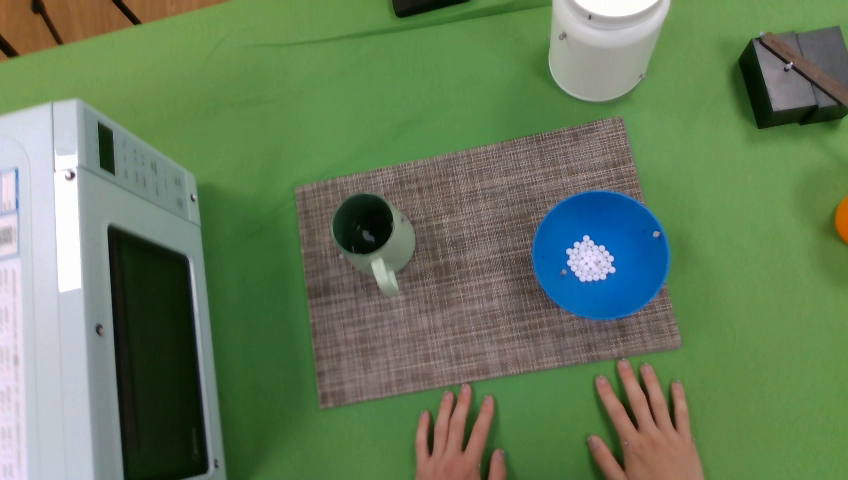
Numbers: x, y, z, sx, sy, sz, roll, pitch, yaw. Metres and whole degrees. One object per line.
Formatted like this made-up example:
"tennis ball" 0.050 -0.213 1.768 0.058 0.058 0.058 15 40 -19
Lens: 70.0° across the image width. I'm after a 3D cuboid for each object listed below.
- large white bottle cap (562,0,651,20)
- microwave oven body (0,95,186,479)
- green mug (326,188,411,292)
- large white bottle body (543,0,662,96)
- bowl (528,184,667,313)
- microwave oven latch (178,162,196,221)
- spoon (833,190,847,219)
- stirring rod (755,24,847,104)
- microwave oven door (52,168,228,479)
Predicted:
"large white bottle cap" 0.196 -0.289 0.644 0.114 0.018 0.114 -2 78 8
"microwave oven body" -0.458 0.115 0.705 0.326 0.261 0.439 -13 77 6
"green mug" -0.063 0.003 0.747 0.092 0.105 0.124 -20 75 4
"large white bottle body" 0.209 -0.270 0.725 0.130 0.185 0.130 -2 77 9
"bowl" 0.199 0.016 0.717 0.151 0.077 0.150 -2 78 9
"microwave oven latch" -0.332 -0.064 0.824 0.030 0.029 0.078 -12 77 6
"spoon" 0.542 -0.033 0.641 0.022 0.192 0.041 35 78 -30
"stirring rod" 0.461 -0.195 0.707 0.175 0.006 0.014 46 122 14
"microwave oven door" -0.309 0.122 0.675 0.039 0.245 0.354 -13 76 7
